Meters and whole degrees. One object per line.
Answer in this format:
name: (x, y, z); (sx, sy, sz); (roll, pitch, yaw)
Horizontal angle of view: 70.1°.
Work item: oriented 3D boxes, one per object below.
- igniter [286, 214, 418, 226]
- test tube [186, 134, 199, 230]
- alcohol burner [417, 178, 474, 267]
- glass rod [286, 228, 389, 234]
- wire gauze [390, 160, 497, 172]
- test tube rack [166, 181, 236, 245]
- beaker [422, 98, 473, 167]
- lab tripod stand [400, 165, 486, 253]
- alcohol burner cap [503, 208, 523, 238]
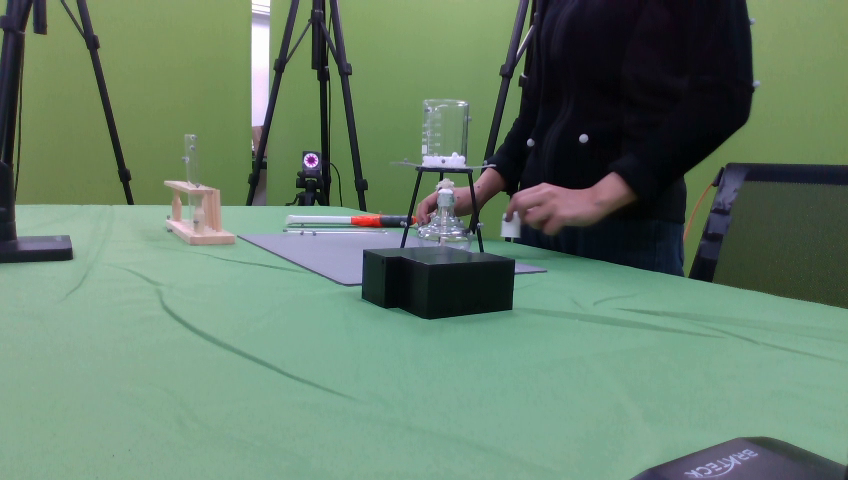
igniter: (-0.146, -0.043, 1.263); (0.278, 0.025, 0.057); (-1, -2, -24)
test tube: (-0.360, -0.089, 0.946); (0.017, 0.150, 0.017); (0, 10, 0)
alcohol burner: (0.029, -0.024, 0.810); (0.078, 0.119, 0.078); (1, 8, 0)
glass rod: (-0.153, -0.016, 1.101); (0.201, 0.008, 0.008); (1, 6, -31)
wire gauze: (0.027, -0.114, 0.920); (0.122, 0.011, 0.124); (-5, 13, -34)
test tube rack: (-0.383, -0.051, 1.024); (0.067, 0.085, 0.241); (-2, 9, -31)
beaker: (0.031, -0.162, 0.919); (0.074, 0.100, 0.083); (-4, 10, -36)
lab tripod stand: (0.027, -0.049, 0.930); (0.148, 0.131, 0.148); (2, 9, 0)
alcohol burner cap: (0.144, -0.028, 0.968); (0.034, 0.048, 0.034); (4, 3, 0)
